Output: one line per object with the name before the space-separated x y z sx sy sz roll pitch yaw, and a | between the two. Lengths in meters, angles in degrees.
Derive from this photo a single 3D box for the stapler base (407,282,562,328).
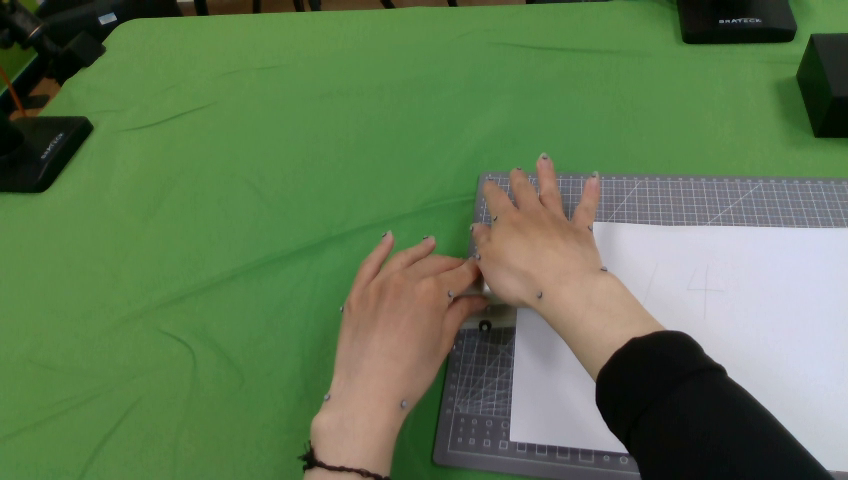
stapler base | 0.049 0.049 0.506 0.130 0.025 0.041 -4 48 9

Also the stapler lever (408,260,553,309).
stapler lever | 0.045 0.036 0.490 0.118 0.040 0.026 -1 49 5
